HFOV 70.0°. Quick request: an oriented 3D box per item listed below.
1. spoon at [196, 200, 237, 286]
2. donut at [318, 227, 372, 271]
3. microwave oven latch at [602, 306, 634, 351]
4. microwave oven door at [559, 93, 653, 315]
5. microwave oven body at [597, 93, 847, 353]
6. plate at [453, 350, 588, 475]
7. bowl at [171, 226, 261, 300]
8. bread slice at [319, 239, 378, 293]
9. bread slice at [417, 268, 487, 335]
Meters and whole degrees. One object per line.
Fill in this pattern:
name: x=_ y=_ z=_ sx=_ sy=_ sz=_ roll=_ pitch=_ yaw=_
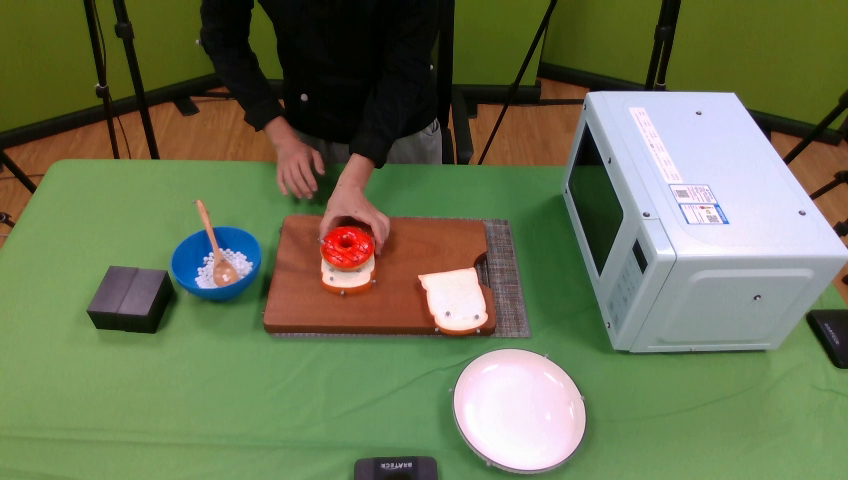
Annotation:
spoon: x=-0.378 y=0.003 z=1.086 sx=0.042 sy=0.022 sz=0.193 roll=-15 pitch=67 yaw=-24
donut: x=-0.142 y=0.017 z=1.095 sx=0.099 sy=0.048 sz=0.098 roll=2 pitch=45 yaw=-2
microwave oven latch: x=0.332 y=0.153 z=1.044 sx=0.030 sy=0.029 sz=0.078 roll=0 pitch=45 yaw=-4
microwave oven door: x=0.327 y=-0.074 z=1.123 sx=0.039 sy=0.245 sz=0.353 roll=-1 pitch=46 yaw=-5
microwave oven body: x=0.475 y=-0.041 z=1.109 sx=0.326 sy=0.261 sz=0.438 roll=-1 pitch=45 yaw=-4
plate: x=0.147 y=0.267 z=0.943 sx=0.208 sy=0.039 sz=0.206 roll=2 pitch=45 yaw=-2
bowl: x=-0.363 y=0.054 z=1.081 sx=0.151 sy=0.077 sz=0.150 roll=2 pitch=45 yaw=-2
bread slice: x=-0.139 y=0.044 z=1.111 sx=0.105 sy=0.019 sz=0.130 roll=0 pitch=45 yaw=-2
bread slice: x=0.055 y=0.107 z=1.063 sx=0.107 sy=0.018 sz=0.133 roll=-9 pitch=48 yaw=-12
